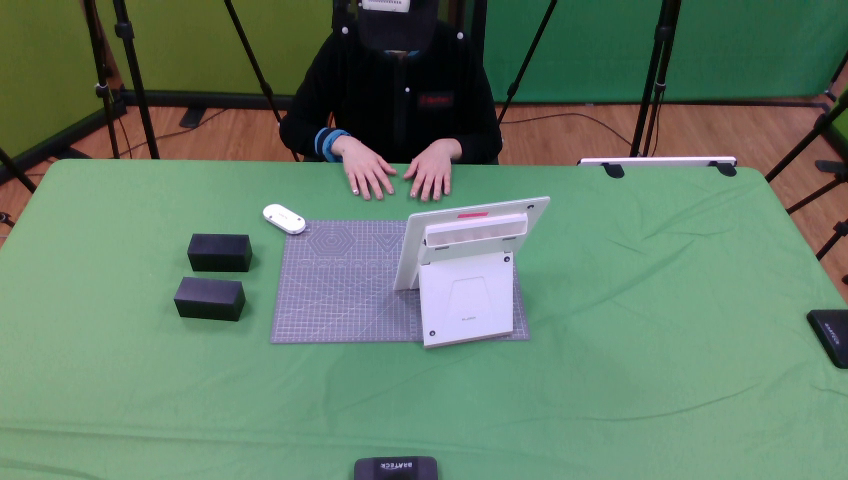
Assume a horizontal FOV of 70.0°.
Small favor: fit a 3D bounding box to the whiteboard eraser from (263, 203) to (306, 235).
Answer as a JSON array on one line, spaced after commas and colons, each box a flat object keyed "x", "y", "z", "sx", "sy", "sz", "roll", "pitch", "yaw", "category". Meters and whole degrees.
[{"x": -0.281, "y": -0.043, "z": 1.216, "sx": 0.101, "sy": 0.019, "sz": 0.041, "roll": 29, "pitch": 53, "yaw": 25, "category": "whiteboard eraser"}]

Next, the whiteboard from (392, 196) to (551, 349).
[{"x": 0.077, "y": 0.071, "z": 0.977, "sx": 0.217, "sy": 0.306, "sz": 0.143, "roll": -7, "pitch": 67, "yaw": -11, "category": "whiteboard"}]
